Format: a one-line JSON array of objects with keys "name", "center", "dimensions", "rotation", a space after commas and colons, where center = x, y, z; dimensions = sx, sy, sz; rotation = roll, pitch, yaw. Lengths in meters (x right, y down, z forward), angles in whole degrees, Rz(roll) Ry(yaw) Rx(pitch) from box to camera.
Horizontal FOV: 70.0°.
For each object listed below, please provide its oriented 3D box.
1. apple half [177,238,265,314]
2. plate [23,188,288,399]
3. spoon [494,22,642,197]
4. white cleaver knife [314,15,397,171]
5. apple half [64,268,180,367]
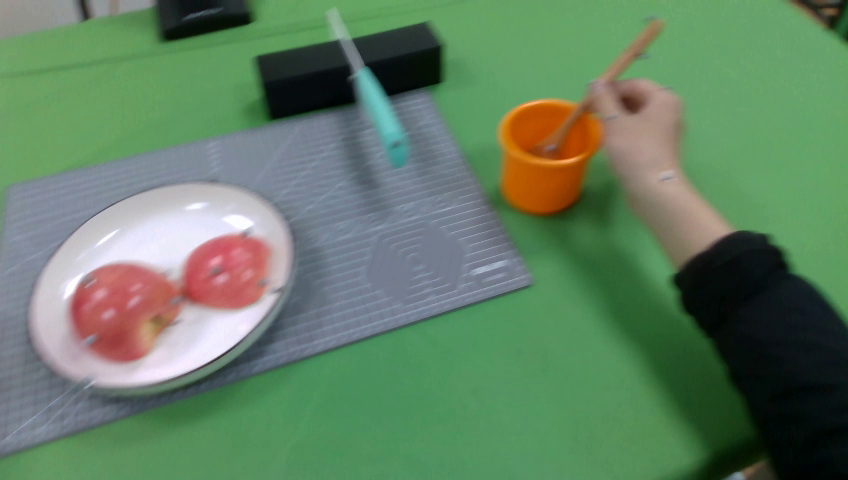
[{"name": "apple half", "center": [-0.175, 0.024, 0.515], "dimensions": [0.081, 0.033, 0.080], "rotation": [0, 53, 0]}, {"name": "plate", "center": [-0.218, 0.041, 0.511], "dimensions": [0.209, 0.038, 0.207], "rotation": [0, 50, 1]}, {"name": "spoon", "center": [0.131, -0.116, 0.558], "dimensions": [0.022, 0.194, 0.041], "rotation": [1, 43, -52]}, {"name": "white cleaver knife", "center": [-0.079, -0.162, 0.658], "dimensions": [0.021, 0.066, 0.283], "rotation": [-19, 48, -8]}, {"name": "apple half", "center": [-0.245, 0.053, 0.481], "dimensions": [0.074, 0.054, 0.080], "rotation": [18, 53, 19]}]
